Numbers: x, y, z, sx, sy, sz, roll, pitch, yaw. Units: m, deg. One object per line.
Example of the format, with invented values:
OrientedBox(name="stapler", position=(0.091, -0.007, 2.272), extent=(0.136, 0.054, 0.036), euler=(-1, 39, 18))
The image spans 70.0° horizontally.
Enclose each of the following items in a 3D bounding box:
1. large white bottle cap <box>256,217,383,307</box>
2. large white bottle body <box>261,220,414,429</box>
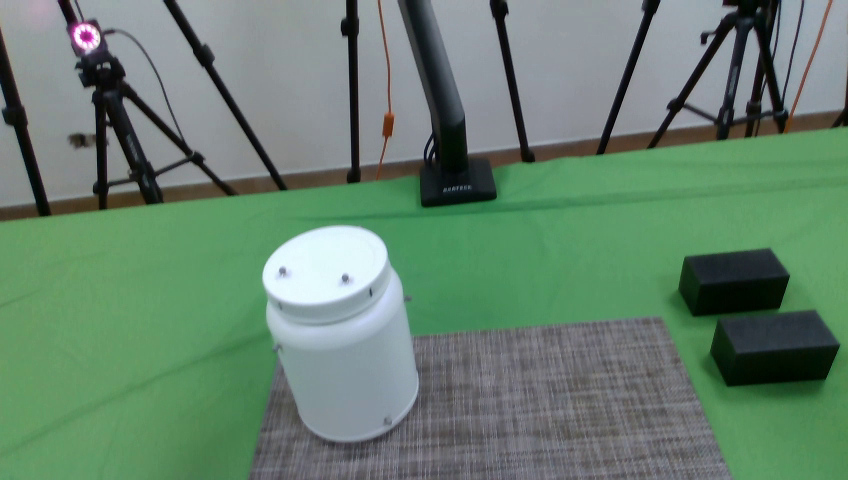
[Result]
OrientedBox(name="large white bottle cap", position=(-0.095, 0.017, 0.553), extent=(0.115, 0.018, 0.113), euler=(-5, 37, 4))
OrientedBox(name="large white bottle body", position=(-0.084, 0.084, 0.604), extent=(0.130, 0.186, 0.129), euler=(-5, 37, 4))
